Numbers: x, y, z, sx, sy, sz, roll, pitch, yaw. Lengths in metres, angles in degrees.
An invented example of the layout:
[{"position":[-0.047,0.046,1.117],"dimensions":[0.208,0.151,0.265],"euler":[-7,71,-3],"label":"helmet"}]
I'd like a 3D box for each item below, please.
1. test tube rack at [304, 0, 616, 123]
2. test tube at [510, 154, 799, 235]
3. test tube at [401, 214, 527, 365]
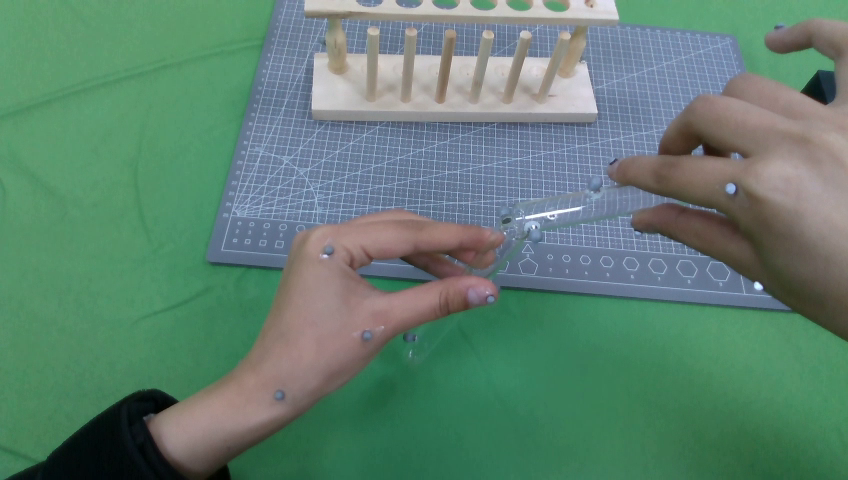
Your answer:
[{"position":[0.028,-0.150,0.498],"dimensions":[0.243,0.086,0.066],"euler":[-1,60,-5],"label":"test tube rack"},{"position":[0.113,-0.023,0.291],"dimensions":[0.150,0.017,0.017],"euler":[-11,61,-11],"label":"test tube"},{"position":[0.016,0.035,0.337],"dimensions":[0.017,0.151,0.017],"euler":[13,52,-16],"label":"test tube"}]
